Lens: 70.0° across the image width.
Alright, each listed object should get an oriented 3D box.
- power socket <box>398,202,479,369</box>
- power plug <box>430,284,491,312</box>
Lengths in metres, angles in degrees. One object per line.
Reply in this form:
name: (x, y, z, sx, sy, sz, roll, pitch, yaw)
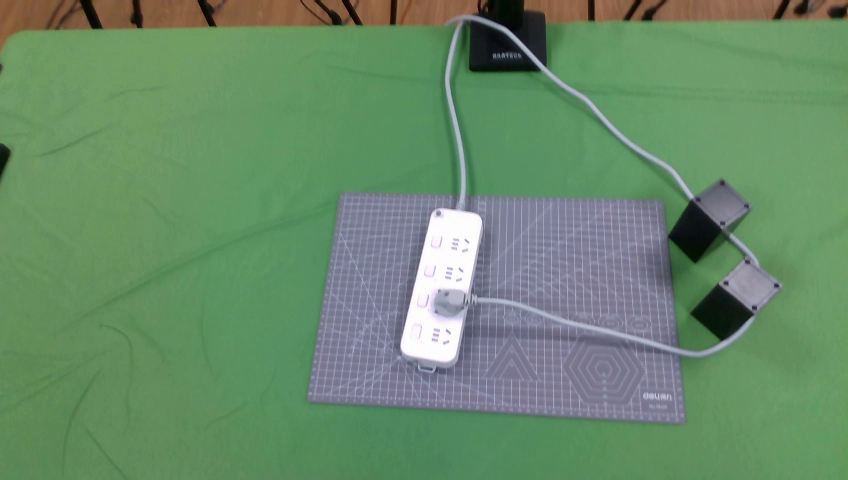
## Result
power socket: (0.021, 0.051, 0.778, 0.072, 0.033, 0.225, 9, 66, 8)
power plug: (0.042, 0.077, 0.744, 0.072, 0.053, 0.035, 19, 68, 11)
